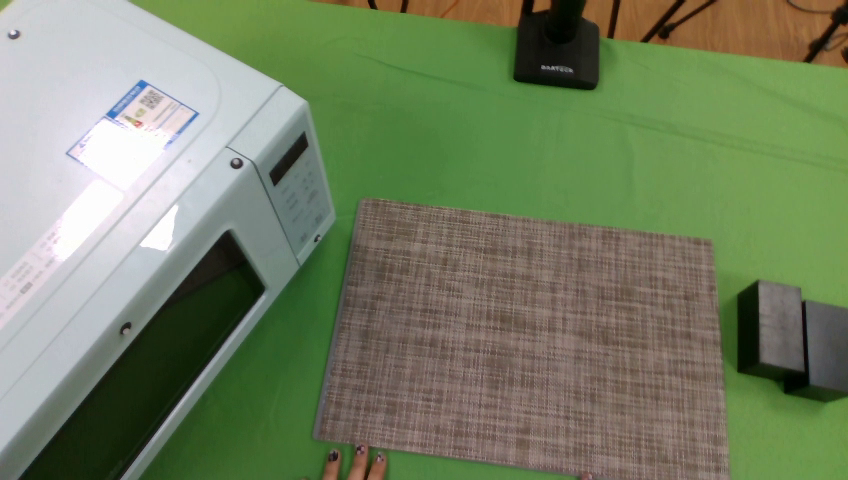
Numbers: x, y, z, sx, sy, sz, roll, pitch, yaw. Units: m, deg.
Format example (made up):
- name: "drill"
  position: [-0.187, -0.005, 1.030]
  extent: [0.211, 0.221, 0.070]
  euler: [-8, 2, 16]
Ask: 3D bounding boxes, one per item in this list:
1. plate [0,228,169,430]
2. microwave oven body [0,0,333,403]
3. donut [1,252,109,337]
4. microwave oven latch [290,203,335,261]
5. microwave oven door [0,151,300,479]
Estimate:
- name: "plate"
  position: [-0.356, 0.087, 0.612]
  extent: [0.209, 0.038, 0.207]
  euler: [-2, 64, 4]
- name: "microwave oven body"
  position: [-0.355, 0.008, 0.600]
  extent: [0.325, 0.262, 0.440]
  euler: [30, 69, 10]
- name: "donut"
  position: [-0.380, 0.056, 0.628]
  extent: [0.099, 0.048, 0.098]
  euler: [3, 51, -3]
- name: "microwave oven latch"
  position: [-0.137, -0.016, 0.725]
  extent: [0.030, 0.030, 0.079]
  euler: [30, 69, 10]
- name: "microwave oven door"
  position: [-0.252, 0.110, 0.554]
  extent: [0.039, 0.245, 0.354]
  euler: [30, 69, 11]
